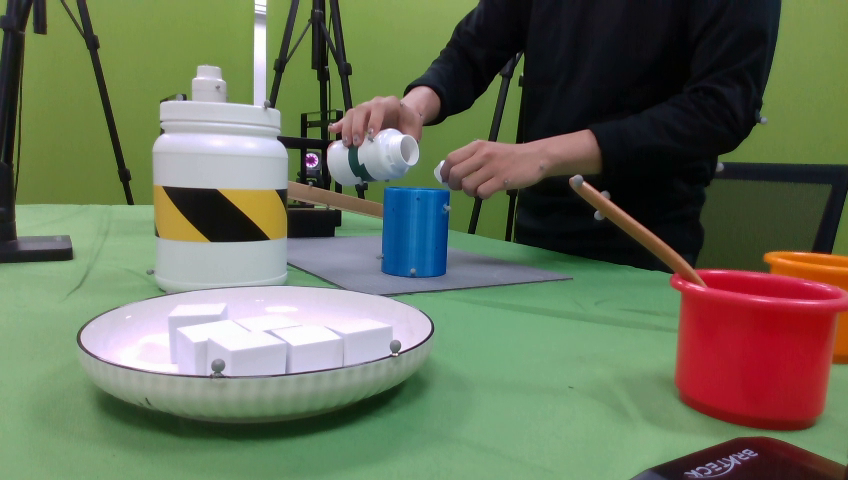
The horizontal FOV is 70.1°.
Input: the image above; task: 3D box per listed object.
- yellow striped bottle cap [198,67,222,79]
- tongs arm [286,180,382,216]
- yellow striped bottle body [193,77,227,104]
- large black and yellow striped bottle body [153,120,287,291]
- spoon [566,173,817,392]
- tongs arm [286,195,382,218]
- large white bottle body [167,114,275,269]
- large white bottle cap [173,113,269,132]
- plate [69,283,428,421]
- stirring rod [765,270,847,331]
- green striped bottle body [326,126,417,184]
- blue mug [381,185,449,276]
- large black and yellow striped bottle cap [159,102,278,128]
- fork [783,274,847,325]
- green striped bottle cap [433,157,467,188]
[{"bbox_3d":[-0.411,-0.320,1.163,0.044,0.018,0.044,1,6,0],"label":"yellow striped bottle cap"},{"bbox_3d":[-0.122,-0.066,1.147,0.387,0.026,0.050,11,-2,-37],"label":"tongs arm"},{"bbox_3d":[-0.414,-0.268,1.169,0.063,0.120,0.063,2,7,0],"label":"yellow striped bottle body"},{"bbox_3d":[-0.208,-0.042,0.626,0.131,0.184,0.130,2,7,0],"label":"large black and yellow striped bottle body"},{"bbox_3d":[0.161,0.024,0.370,0.193,0.021,0.042,47,18,3],"label":"spoon"},{"bbox_3d":[-0.165,-0.074,1.216,0.389,0.027,0.028,11,-6,-24],"label":"tongs arm"},{"bbox_3d":[-0.257,-0.063,0.771,0.131,0.184,0.130,2,7,0],"label":"large white bottle body"},{"bbox_3d":[-0.254,-0.146,0.760,0.115,0.018,0.115,1,7,0],"label":"large white bottle cap"},{"bbox_3d":[-0.102,0.066,0.381,0.208,0.039,0.207,2,7,0],"label":"plate"},{"bbox_3d":[0.352,0.020,0.484,0.176,0.006,0.014,-40,-7,12],"label":"stirring rod"},{"bbox_3d":[-0.065,-0.110,0.783,0.118,0.063,0.063,-5,1,40],"label":"green striped bottle body"},{"bbox_3d":[-0.018,-0.016,0.764,0.083,0.106,0.116,-2,8,-24],"label":"blue mug"},{"bbox_3d":[-0.207,-0.125,0.615,0.115,0.019,0.115,2,6,0],"label":"large black and yellow striped bottle cap"},{"bbox_3d":[0.332,0.018,0.443,0.028,0.018,0.207,-1,-36,-15],"label":"fork"},{"bbox_3d":[0.035,-0.093,0.822,0.044,0.020,0.044,20,37,-16],"label":"green striped bottle cap"}]
